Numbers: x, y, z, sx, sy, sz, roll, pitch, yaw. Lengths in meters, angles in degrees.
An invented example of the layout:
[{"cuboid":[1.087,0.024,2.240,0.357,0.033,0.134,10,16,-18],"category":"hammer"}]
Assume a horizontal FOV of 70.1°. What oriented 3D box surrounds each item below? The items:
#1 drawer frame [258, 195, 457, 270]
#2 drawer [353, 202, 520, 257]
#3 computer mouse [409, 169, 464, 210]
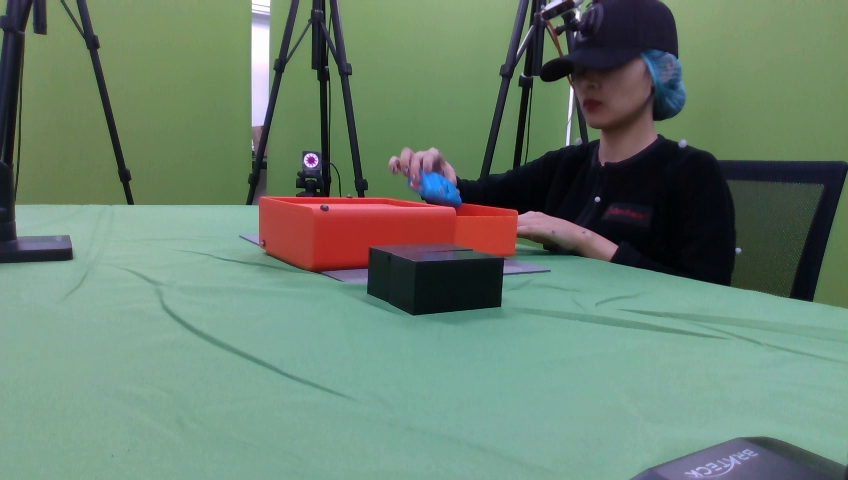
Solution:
[{"cuboid":[-0.095,-0.018,0.845,0.215,0.082,0.200,-3,10,-34],"category":"drawer frame"},{"cuboid":[0.001,-0.021,0.909,0.213,0.073,0.193,-2,9,-33],"category":"drawer"},{"cuboid":[0.020,-0.081,0.956,0.063,0.041,0.116,18,14,-24],"category":"computer mouse"}]
